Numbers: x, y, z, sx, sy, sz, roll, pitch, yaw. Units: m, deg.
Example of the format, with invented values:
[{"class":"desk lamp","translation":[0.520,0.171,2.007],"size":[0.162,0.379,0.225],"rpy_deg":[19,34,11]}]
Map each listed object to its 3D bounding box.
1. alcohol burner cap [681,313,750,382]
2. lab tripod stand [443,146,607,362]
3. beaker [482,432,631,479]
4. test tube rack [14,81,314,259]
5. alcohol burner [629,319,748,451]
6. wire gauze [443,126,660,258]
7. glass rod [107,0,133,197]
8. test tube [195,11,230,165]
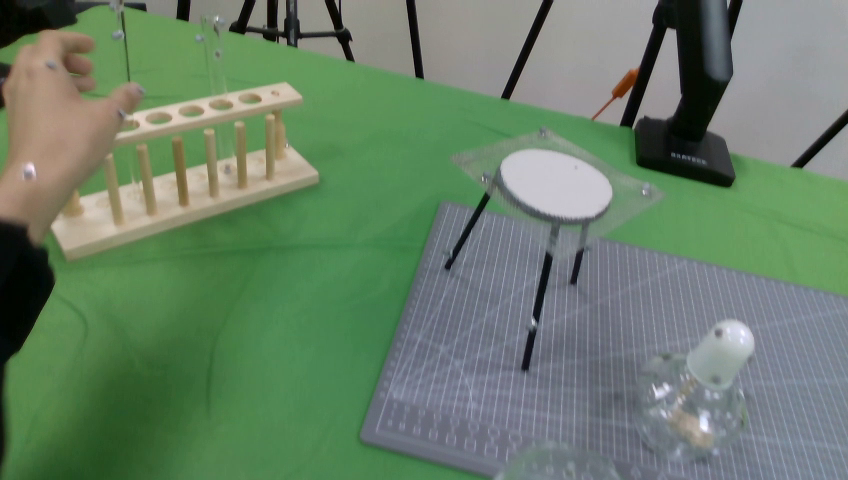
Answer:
[{"class":"alcohol burner cap","translation":[0.198,0.070,0.405],"size":[0.034,0.048,0.033],"rpy_deg":[5,44,-4]},{"class":"lab tripod stand","translation":[0.088,0.004,0.500],"size":[0.149,0.132,0.147],"rpy_deg":[7,41,-6]},{"class":"beaker","translation":[0.063,0.166,0.336],"size":[0.084,0.101,0.073],"rpy_deg":[7,40,-2]},{"class":"test tube rack","translation":[-0.224,-0.073,0.565],"size":[0.243,0.086,0.066],"rpy_deg":[-23,51,-33]},{"class":"alcohol burner","translation":[0.193,0.096,0.430],"size":[0.078,0.120,0.077],"rpy_deg":[8,39,-6]},{"class":"wire gauze","translation":[0.095,-0.047,0.456],"size":[0.122,0.011,0.124],"rpy_deg":[-24,52,-32]},{"class":"glass rod","translation":[-0.259,-0.125,0.515],"size":[0.008,0.201,0.008],"rpy_deg":[8,31,-5]},{"class":"test tube","translation":[-0.197,-0.137,0.568],"size":[0.017,0.151,0.017],"rpy_deg":[4,37,-3]}]
